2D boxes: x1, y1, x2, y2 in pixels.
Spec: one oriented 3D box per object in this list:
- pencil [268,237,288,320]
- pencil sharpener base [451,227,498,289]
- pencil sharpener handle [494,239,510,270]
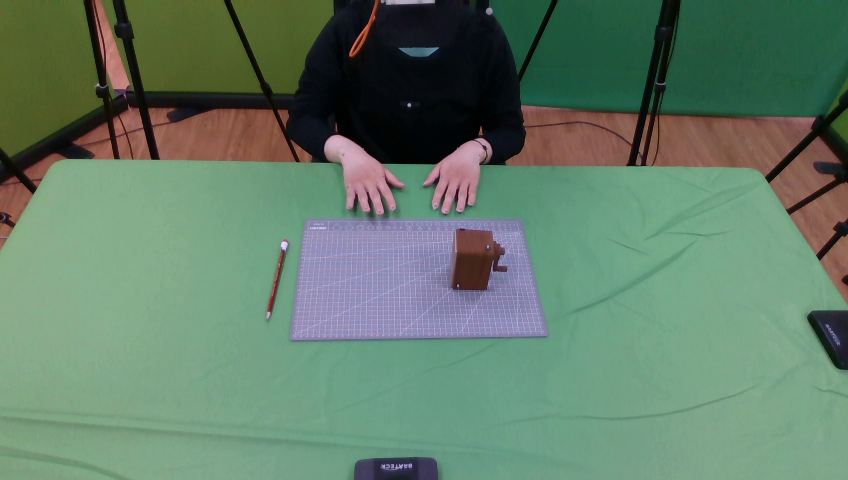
[{"bbox_3d":[-0.271,0.068,1.120,0.012,0.012,0.193,2,48,-2],"label":"pencil"},{"bbox_3d":[0.091,0.034,1.103,0.077,0.107,0.061,3,46,-1],"label":"pencil sharpener base"},{"bbox_3d":[0.143,0.029,1.094,0.030,0.068,0.036,3,42,-1],"label":"pencil sharpener handle"}]
